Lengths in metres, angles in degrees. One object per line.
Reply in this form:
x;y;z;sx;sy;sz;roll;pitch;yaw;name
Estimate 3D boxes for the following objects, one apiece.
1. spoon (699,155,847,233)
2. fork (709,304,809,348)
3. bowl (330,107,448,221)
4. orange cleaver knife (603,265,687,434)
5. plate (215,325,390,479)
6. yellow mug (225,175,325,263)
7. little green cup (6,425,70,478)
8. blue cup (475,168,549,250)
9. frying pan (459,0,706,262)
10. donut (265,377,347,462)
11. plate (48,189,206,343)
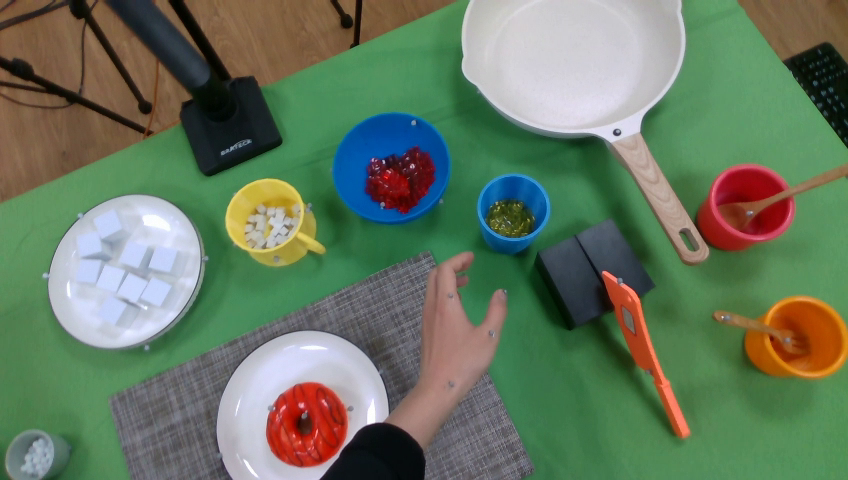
0.419;-0.058;0.712;0.193;0.022;0.041;-31;65;41;spoon
0.374;0.094;0.668;0.209;0.018;0.028;18;70;-36;fork
-0.041;-0.087;0.791;0.151;0.077;0.150;-1;74;4;bowl
0.254;0.127;0.704;0.012;0.077;0.212;-26;102;-3;orange cleaver knife
-0.143;0.208;0.729;0.209;0.038;0.208;-1;74;4;plate
-0.186;-0.020;0.789;0.130;0.064;0.099;26;77;11;yellow mug
-0.470;0.258;0.742;0.061;0.039;0.061;-1;75;3;little green cup
0.104;-0.030;0.750;0.092;0.101;0.092;-1;74;2;blue cup
0.226;-0.183;0.784;0.307;0.103;0.483;-20;65;-1;frying pan
-0.139;0.212;0.716;0.099;0.048;0.098;-1;77;4;donut
-0.386;0.035;0.802;0.207;0.039;0.206;-1;74;4;plate
